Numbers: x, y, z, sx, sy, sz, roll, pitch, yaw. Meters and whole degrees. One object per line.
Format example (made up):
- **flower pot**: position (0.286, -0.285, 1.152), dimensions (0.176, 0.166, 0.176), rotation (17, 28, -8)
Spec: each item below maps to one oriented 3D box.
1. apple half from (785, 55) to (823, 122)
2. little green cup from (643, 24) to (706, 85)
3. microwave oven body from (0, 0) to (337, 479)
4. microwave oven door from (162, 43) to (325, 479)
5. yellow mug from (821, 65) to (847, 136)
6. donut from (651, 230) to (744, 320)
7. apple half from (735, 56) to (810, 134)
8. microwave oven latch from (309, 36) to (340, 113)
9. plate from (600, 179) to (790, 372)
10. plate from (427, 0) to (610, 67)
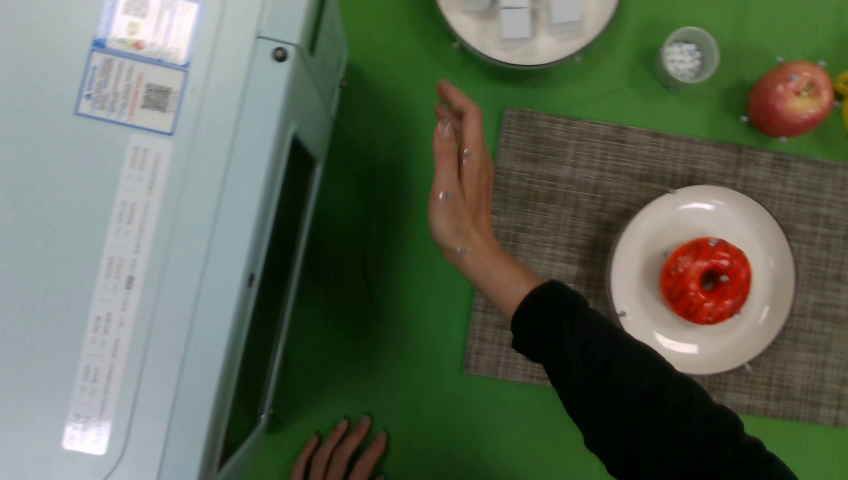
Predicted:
- **apple half**: position (0.407, -0.165, 0.660), dimensions (0.033, 0.081, 0.081), rotation (-18, 90, 2)
- **little green cup**: position (0.274, -0.203, 0.671), dimensions (0.061, 0.038, 0.061), rotation (0, 90, -3)
- **microwave oven body**: position (-0.284, -0.033, 0.525), dimensions (0.326, 0.260, 0.441), rotation (11, 90, -3)
- **microwave oven door**: position (-0.150, 0.038, 0.528), dimensions (0.039, 0.243, 0.355), rotation (11, 89, -3)
- **yellow mug**: position (0.506, -0.164, 0.670), dimensions (0.131, 0.064, 0.100), rotation (20, 88, -2)
- **donut**: position (0.296, 0.039, 0.658), dimensions (0.099, 0.048, 0.099), rotation (0, 91, -1)
- **apple half**: position (0.370, -0.152, 0.659), dimensions (0.053, 0.074, 0.081), rotation (-18, 94, 2)
- **microwave oven latch**: position (-0.107, -0.175, 0.630), dimensions (0.030, 0.029, 0.079), rotation (11, 90, -3)
- **plate**: position (0.294, 0.038, 0.669), dimensions (0.209, 0.038, 0.209), rotation (0, 90, -3)
- **plate**: position (0.101, -0.289, 0.661), dimensions (0.208, 0.039, 0.207), rotation (0, 90, -3)
